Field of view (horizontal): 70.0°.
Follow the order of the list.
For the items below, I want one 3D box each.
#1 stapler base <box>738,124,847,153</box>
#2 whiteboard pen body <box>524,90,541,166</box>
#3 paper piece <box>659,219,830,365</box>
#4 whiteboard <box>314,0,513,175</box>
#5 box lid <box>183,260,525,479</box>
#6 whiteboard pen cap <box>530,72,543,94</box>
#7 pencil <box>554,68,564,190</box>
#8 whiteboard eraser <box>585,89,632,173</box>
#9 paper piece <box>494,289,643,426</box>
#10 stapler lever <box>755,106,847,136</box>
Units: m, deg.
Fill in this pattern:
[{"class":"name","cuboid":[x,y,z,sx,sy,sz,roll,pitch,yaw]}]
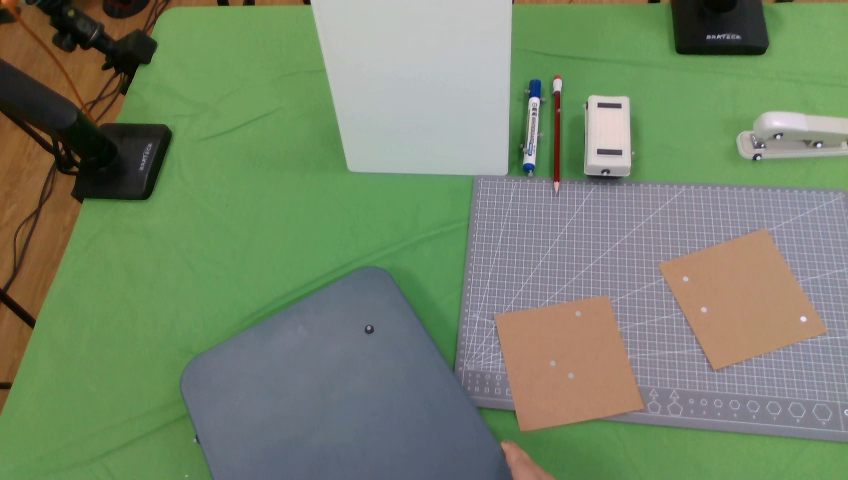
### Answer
[{"class":"stapler base","cuboid":[0.463,-0.133,0.753,0.130,0.024,0.041,-1,67,4]},{"class":"whiteboard pen body","cuboid":[0.146,-0.161,0.808,0.017,0.017,0.140,4,65,9]},{"class":"paper piece","cuboid":[0.357,0.056,0.682,0.136,0.009,0.137,-19,66,3]},{"class":"whiteboard","cuboid":[0.003,-0.246,0.740,0.217,0.308,0.142,3,46,9]},{"class":"box lid","cuboid":[-0.075,0.204,0.613,0.263,0.015,0.367,-29,60,-10]},{"class":"whiteboard pen cap","cuboid":[0.155,-0.213,0.831,0.018,0.018,0.033,2,64,9]},{"class":"pencil","cuboid":[0.180,-0.150,0.803,0.012,0.012,0.192,1,65,8]},{"class":"whiteboard eraser","cuboid":[0.235,-0.139,0.774,0.055,0.042,0.112,2,65,10]},{"class":"paper piece","cuboid":[0.157,0.127,0.673,0.135,0.004,0.134,-10,65,2]},{"class":"stapler lever","cuboid":[0.462,-0.144,0.731,0.118,0.040,0.026,-2,67,6]}]
